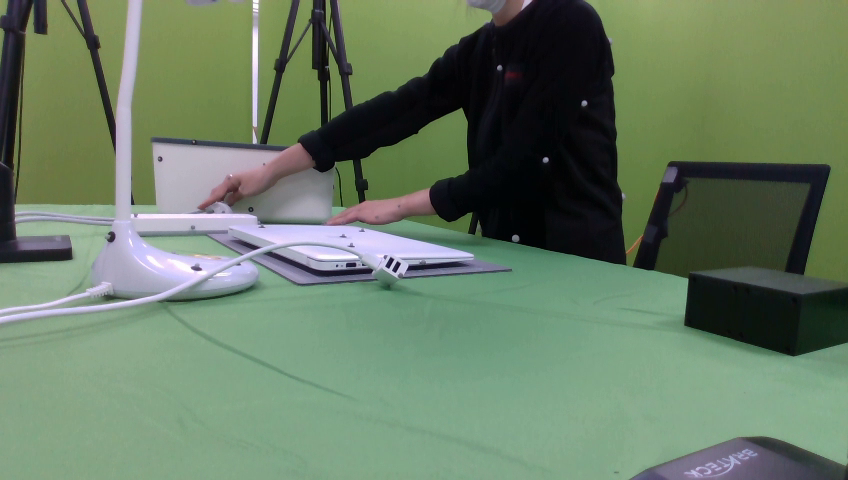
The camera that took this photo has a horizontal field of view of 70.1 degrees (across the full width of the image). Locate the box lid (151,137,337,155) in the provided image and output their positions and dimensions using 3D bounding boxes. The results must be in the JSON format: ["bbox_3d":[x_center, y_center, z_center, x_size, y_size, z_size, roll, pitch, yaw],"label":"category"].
[{"bbox_3d":[-0.379,-0.203,1.334,0.372,0.015,0.262,2,7,-9],"label":"box lid"}]

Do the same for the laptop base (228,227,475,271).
[{"bbox_3d":[-0.122,0.011,0.889,0.237,0.023,0.352,2,6,-35],"label":"laptop base"}]

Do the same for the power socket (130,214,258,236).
[{"bbox_3d":[-0.398,-0.028,1.049,0.228,0.032,0.072,-3,7,-34],"label":"power socket"}]

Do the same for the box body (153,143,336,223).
[{"bbox_3d":[-0.380,-0.130,1.344,0.365,0.160,0.253,1,7,-9],"label":"box body"}]

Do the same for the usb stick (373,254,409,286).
[{"bbox_3d":[-0.038,0.035,0.663,0.027,0.021,0.059,28,-21,-7],"label":"usb stick"}]

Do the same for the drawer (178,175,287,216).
[{"bbox_3d":[-0.414,-0.103,1.341,0.212,0.073,0.194,5,6,-11],"label":"drawer"}]

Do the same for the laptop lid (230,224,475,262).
[{"bbox_3d":[-0.119,0.000,0.888,0.243,0.013,0.355,1,7,-33],"label":"laptop lid"}]

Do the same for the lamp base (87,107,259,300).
[{"bbox_3d":[-0.254,-0.039,0.603,0.160,0.180,0.179,5,10,18],"label":"lamp base"}]

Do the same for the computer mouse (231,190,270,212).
[{"bbox_3d":[-0.382,-0.086,1.342,0.063,0.041,0.117,10,10,-4],"label":"computer mouse"}]

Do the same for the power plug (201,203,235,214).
[{"bbox_3d":[-0.387,-0.041,1.146,0.072,0.052,0.035,-23,-19,39],"label":"power plug"}]

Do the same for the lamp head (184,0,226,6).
[{"bbox_3d":[-0.229,-0.320,0.627,0.112,0.112,0.123,6,-36,26],"label":"lamp head"}]
